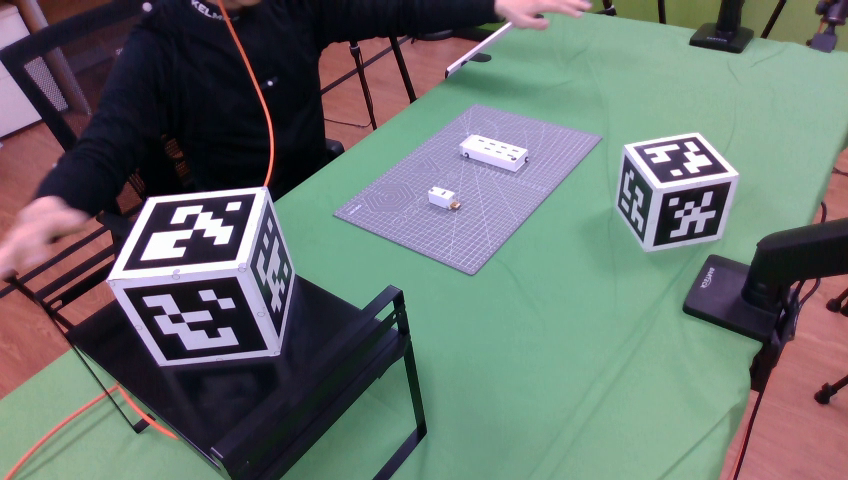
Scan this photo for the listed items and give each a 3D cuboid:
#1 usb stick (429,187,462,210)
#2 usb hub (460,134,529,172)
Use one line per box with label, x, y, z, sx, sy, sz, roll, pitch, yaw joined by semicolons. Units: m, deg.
usb stick;0.038;-0.069;1.038;0.059;0.027;0.021;25;49;30
usb hub;0.132;-0.165;1.138;0.124;0.025;0.049;22;49;30
